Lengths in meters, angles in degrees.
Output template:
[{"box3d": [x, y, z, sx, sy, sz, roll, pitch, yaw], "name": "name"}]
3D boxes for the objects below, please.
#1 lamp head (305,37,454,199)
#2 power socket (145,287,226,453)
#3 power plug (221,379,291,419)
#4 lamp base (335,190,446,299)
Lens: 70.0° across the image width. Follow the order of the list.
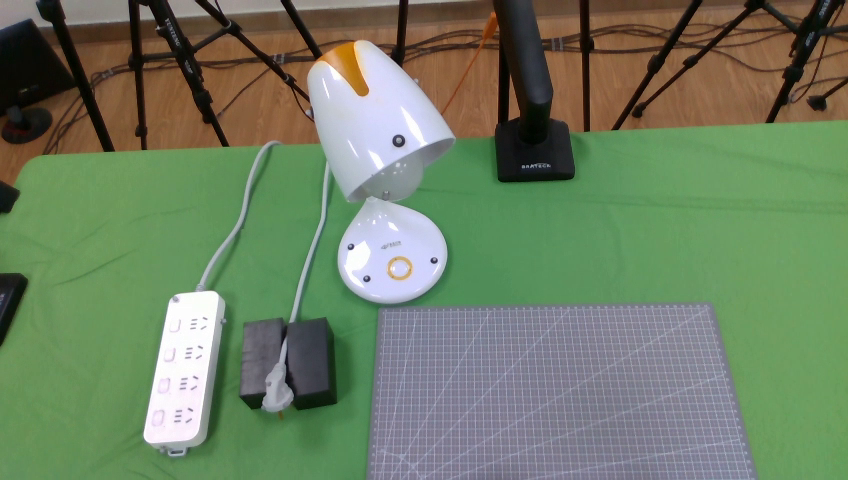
[{"box3d": [-0.049, -0.112, 0.534, 0.112, 0.112, 0.122, -29, 83, -13], "name": "lamp head"}, {"box3d": [-0.311, 0.161, 0.799, 0.072, 0.033, 0.224, -4, 57, 1], "name": "power socket"}, {"box3d": [-0.194, 0.192, 0.715, 0.072, 0.053, 0.035, -19, 13, -2], "name": "power plug"}, {"box3d": [-0.061, -0.036, 0.819, 0.161, 0.182, 0.177, -26, 56, -12], "name": "lamp base"}]
